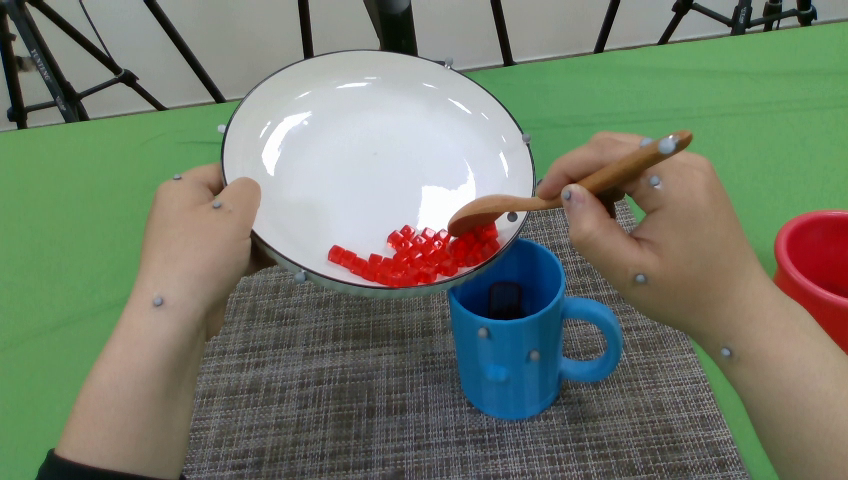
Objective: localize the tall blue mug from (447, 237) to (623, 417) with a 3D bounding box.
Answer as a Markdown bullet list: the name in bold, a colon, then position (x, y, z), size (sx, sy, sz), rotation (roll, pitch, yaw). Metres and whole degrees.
- **tall blue mug**: position (0.074, 0.059, 0.420), size (0.107, 0.109, 0.077), rotation (-12, 42, -2)

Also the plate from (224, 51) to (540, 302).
- **plate**: position (-0.026, -0.046, 0.415), size (0.208, 0.039, 0.205), rotation (5, 56, -7)

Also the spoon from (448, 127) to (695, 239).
- **spoon**: position (0.066, -0.023, 0.320), size (0.042, 0.021, 0.193), rotation (-11, -2, -26)
